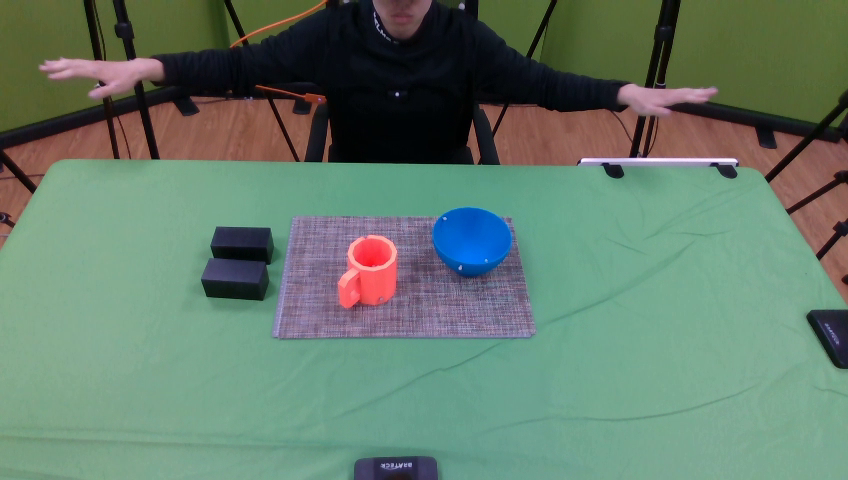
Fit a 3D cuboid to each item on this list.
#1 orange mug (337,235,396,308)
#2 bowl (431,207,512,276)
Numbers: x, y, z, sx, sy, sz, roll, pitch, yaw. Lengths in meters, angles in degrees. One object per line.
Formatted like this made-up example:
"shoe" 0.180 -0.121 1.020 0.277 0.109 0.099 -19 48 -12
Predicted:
"orange mug" -0.104 0.063 1.073 0.083 0.101 0.126 32 48 24
"bowl" 0.086 0.016 1.147 0.151 0.077 0.150 2 46 -2
